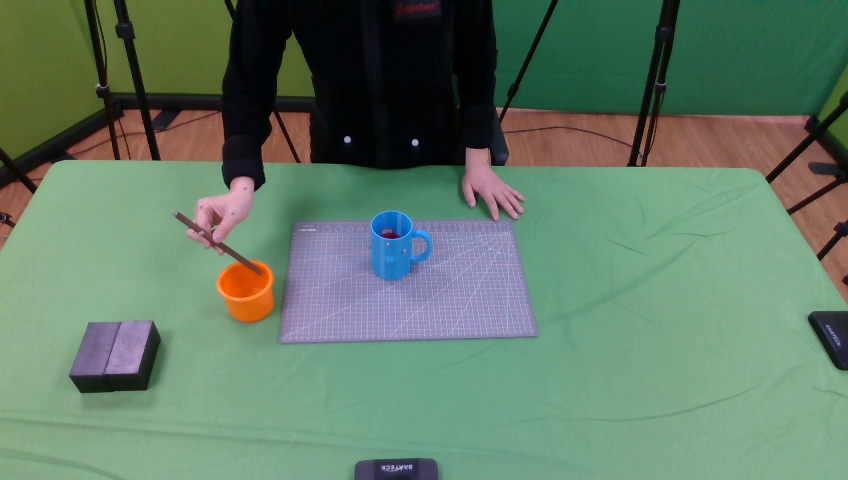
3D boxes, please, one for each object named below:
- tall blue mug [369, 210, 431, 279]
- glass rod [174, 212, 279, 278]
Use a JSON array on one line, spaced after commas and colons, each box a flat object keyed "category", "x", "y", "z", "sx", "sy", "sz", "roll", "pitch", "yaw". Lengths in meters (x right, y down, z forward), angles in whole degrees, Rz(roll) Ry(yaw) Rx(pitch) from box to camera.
[{"category": "tall blue mug", "x": -0.049, "y": 0.005, "z": 1.125, "sx": 0.107, "sy": 0.108, "sz": 0.077, "roll": -19, "pitch": 50, "yaw": -21}, {"category": "glass rod", "x": -0.318, "y": 0.012, "z": 0.988, "sx": 0.201, "sy": 0.008, "sz": 0.008, "roll": 38, "pitch": 33, "yaw": -31}]
